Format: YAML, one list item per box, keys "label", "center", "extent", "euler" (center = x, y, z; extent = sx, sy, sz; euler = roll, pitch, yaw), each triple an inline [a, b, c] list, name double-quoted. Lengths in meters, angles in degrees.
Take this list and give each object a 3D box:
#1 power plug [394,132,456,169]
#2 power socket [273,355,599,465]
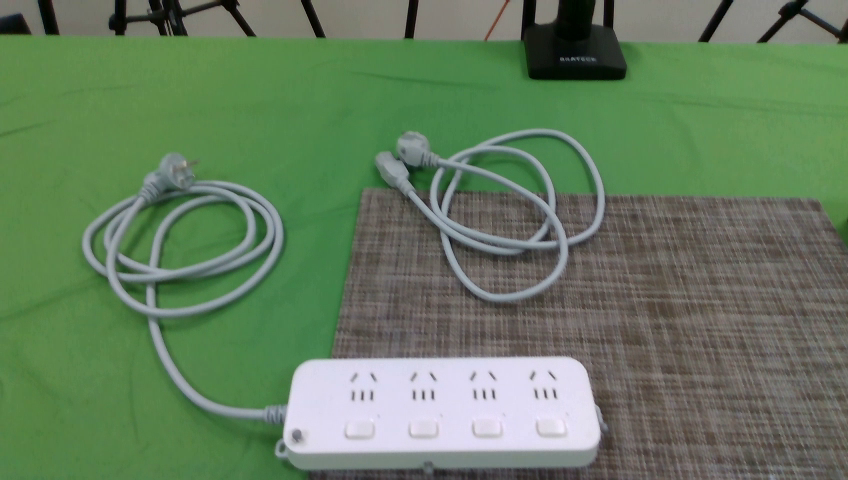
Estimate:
- label: "power plug"
  center: [0.002, -0.086, 0.632]
  extent: [0.072, 0.035, 0.052]
  euler: [31, 27, 7]
- label: "power socket"
  center: [0.010, 0.118, 0.422]
  extent: [0.227, 0.033, 0.071]
  euler: [-1, 45, 0]
